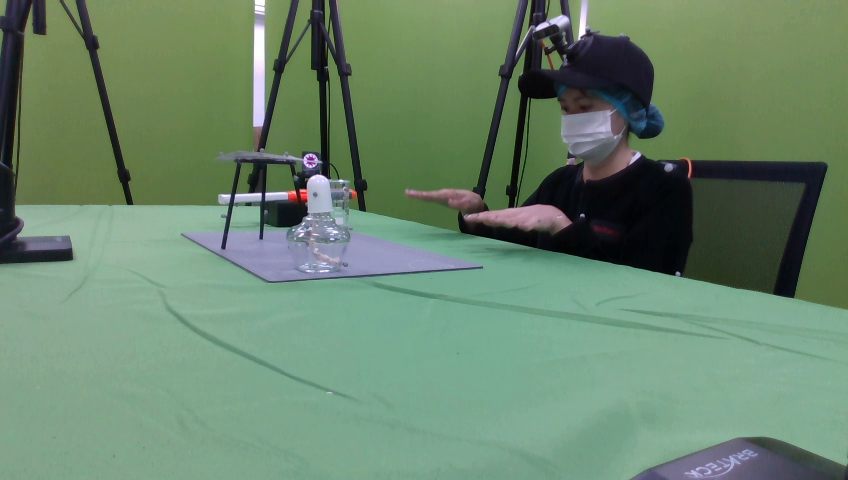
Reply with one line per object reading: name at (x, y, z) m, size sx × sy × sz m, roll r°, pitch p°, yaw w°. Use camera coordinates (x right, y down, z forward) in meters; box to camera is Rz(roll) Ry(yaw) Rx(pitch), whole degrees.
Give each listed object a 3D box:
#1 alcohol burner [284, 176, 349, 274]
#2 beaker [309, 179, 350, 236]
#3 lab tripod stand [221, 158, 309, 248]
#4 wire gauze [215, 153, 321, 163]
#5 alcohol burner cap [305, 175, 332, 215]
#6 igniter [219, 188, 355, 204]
alcohol burner at (-0.130, -0.019, 0.738) m, size 0.078 × 0.119 × 0.078 m, roll 4°, pitch 5°, yaw 0°
beaker at (-0.176, -0.060, 1.104) m, size 0.073 × 0.100 × 0.084 m, roll 8°, pitch 10°, yaw 39°
lab tripod stand at (-0.244, -0.057, 0.917) m, size 0.148 × 0.131 × 0.148 m, roll 1°, pitch 7°, yaw 0°
wire gauze at (-0.235, -0.123, 0.906) m, size 0.126 × 0.011 × 0.121 m, roll -2°, pitch 7°, yaw -33°
alcohol burner cap at (-0.130, -0.054, 0.733) m, size 0.034 × 0.048 × 0.034 m, roll -4°, pitch 8°, yaw 1°
igniter at (-0.274, -0.090, 1.237) m, size 0.278 × 0.025 × 0.057 m, roll -5°, pitch 11°, yaw -30°
